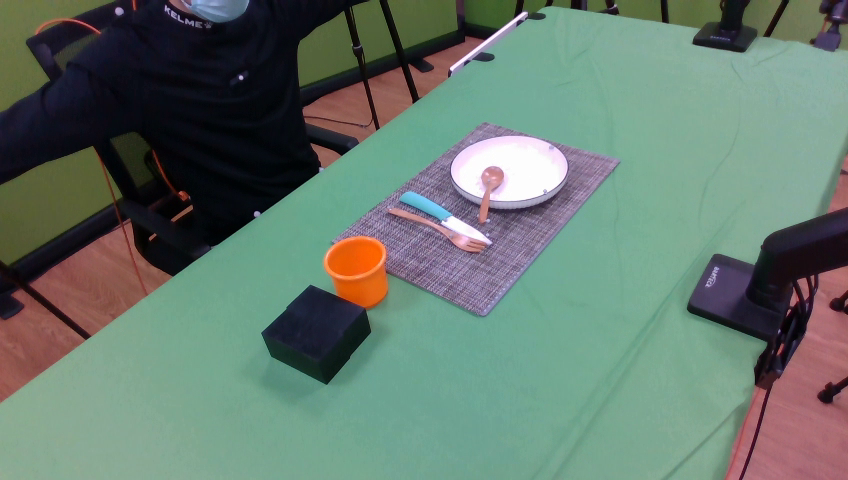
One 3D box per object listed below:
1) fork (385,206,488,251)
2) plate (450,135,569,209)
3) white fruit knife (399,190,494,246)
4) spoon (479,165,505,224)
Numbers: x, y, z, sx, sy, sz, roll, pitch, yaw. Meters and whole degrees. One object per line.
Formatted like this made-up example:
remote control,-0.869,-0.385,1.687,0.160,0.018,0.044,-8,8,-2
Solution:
fork,0.015,-0.021,0.988,0.206,0.019,0.028,24,62,30
plate,0.149,-0.117,1.066,0.209,0.038,0.208,-4,41,4
white fruit knife,0.036,-0.038,1.009,0.205,0.016,0.027,32,84,34
spoon,0.107,-0.079,1.005,0.041,0.022,0.193,4,29,11
